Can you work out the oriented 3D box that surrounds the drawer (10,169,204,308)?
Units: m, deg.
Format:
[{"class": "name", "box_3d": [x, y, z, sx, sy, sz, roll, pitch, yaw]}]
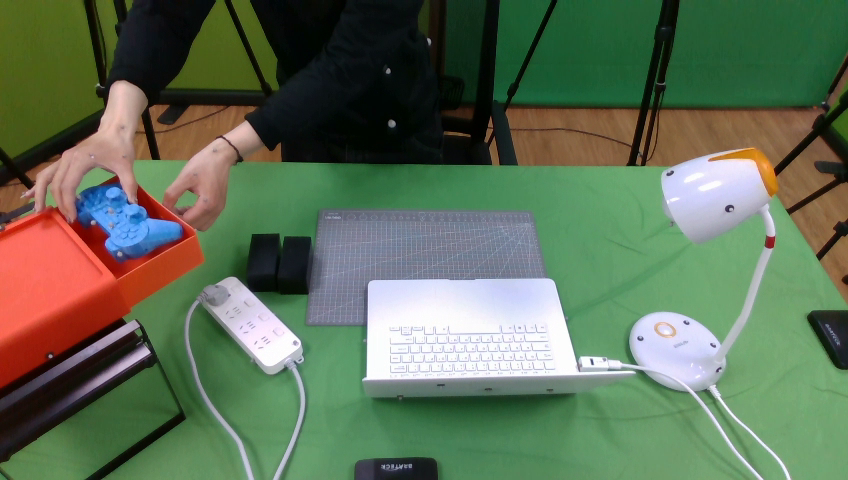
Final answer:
[{"class": "drawer", "box_3d": [-0.459, 0.013, 0.859, 0.193, 0.073, 0.211, 35, 55, 25]}]

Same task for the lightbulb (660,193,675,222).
[{"class": "lightbulb", "box_3d": [0.366, -0.060, 0.806, 0.060, 0.107, 0.059, 17, 61, -32]}]

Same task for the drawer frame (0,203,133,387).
[{"class": "drawer frame", "box_3d": [-0.537, 0.074, 0.797, 0.200, 0.083, 0.213, 36, 54, 26]}]

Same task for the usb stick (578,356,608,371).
[{"class": "usb stick", "box_3d": [0.273, 0.207, 1.007, 0.059, 0.027, 0.021, 0, 52, 0]}]

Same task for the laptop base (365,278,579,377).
[{"class": "laptop base", "box_3d": [0.076, 0.161, 1.053, 0.355, 0.023, 0.234, 0, 44, -4]}]

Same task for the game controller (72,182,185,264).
[{"class": "game controller", "box_3d": [-0.424, -0.032, 0.858, 0.154, 0.052, 0.097, 35, 59, 25]}]

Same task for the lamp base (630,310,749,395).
[{"class": "lamp base", "box_3d": [0.447, 0.142, 0.984, 0.161, 0.181, 0.178, -24, 55, -24]}]

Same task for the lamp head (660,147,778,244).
[{"class": "lamp head", "box_3d": [0.389, -0.063, 0.785, 0.123, 0.113, 0.112, -22, 33, 37]}]

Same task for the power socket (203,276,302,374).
[{"class": "power socket", "box_3d": [-0.297, 0.141, 1.034, 0.072, 0.033, 0.225, -34, 58, -31]}]

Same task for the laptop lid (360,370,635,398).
[{"class": "laptop lid", "box_3d": [0.090, 0.208, 0.863, 0.357, 0.242, 0.013, 0, 71, -6]}]

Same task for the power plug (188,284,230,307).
[{"class": "power plug", "box_3d": [-0.368, 0.100, 1.036, 0.072, 0.053, 0.035, -27, 53, -24]}]
